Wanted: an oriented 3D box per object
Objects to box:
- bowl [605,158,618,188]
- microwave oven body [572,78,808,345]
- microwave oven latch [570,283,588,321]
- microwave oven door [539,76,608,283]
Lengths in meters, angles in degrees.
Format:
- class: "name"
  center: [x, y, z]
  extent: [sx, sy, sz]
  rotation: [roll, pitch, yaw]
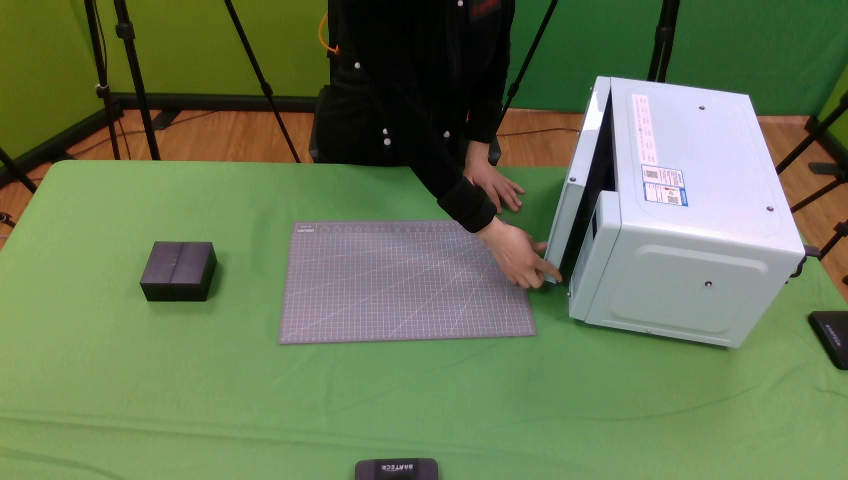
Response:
- class: "bowl"
  center: [0.422, -0.093, 1.195]
  extent: [0.151, 0.077, 0.150]
  rotation: [4, 48, -4]
- class: "microwave oven body"
  center: [0.456, -0.063, 1.124]
  extent: [0.326, 0.261, 0.439]
  rotation: [8, 45, 5]
- class: "microwave oven latch"
  center: [0.276, 0.106, 1.082]
  extent: [0.030, 0.029, 0.079]
  rotation: [10, 45, 6]
- class: "microwave oven door"
  center: [0.292, -0.125, 1.164]
  extent: [0.039, 0.245, 0.354]
  rotation: [16, 47, 11]
